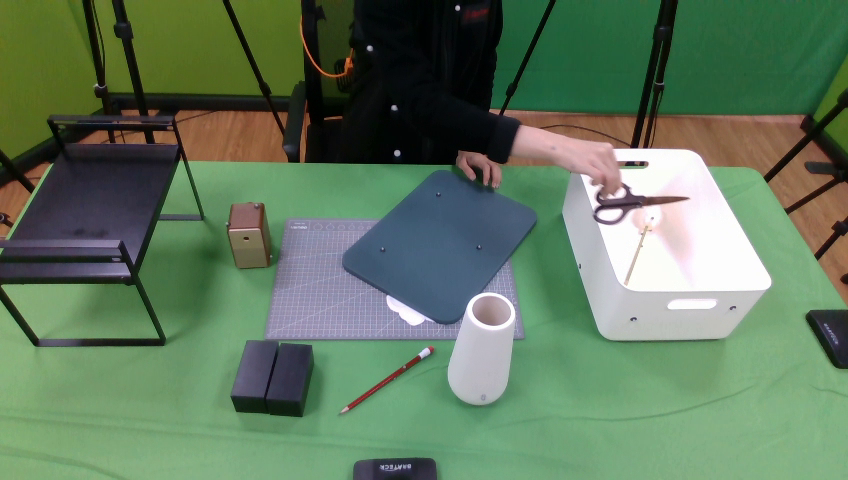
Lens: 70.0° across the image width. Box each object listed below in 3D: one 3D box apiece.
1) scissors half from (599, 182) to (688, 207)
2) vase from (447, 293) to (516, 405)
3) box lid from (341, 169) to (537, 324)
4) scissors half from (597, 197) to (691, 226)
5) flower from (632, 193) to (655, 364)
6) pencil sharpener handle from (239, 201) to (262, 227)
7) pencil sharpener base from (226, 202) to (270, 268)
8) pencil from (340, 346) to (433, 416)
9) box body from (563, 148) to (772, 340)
[{"bbox_3d":[0.370,-0.071,1.006,0.176,0.040,0.012,4,20,-18],"label":"scissors half"},{"bbox_3d":[0.091,0.169,0.921,0.098,0.201,0.097,3,47,-3],"label":"vase"},{"bbox_3d":[0.038,-0.004,1.210,0.262,0.015,0.371,27,49,21],"label":"box lid"},{"bbox_3d":[0.369,-0.053,1.014,0.175,0.040,0.012,-12,29,-10],"label":"scissors half"},{"bbox_3d":[0.422,0.068,1.187,0.038,0.044,0.360,22,64,-19],"label":"flower"},{"bbox_3d":[-0.325,-0.055,1.150,0.036,0.068,0.030,-13,46,4],"label":"pencil sharpener handle"},{"bbox_3d":[-0.323,-0.010,1.123,0.061,0.107,0.076,-3,46,-7],"label":"pencil sharpener base"},{"bbox_3d":[-0.058,0.227,0.983,0.194,0.012,0.012,-32,56,-29],"label":"pencil"},{"bbox_3d":[0.421,0.003,1.130,0.254,0.161,0.361,0,46,-5],"label":"box body"}]
